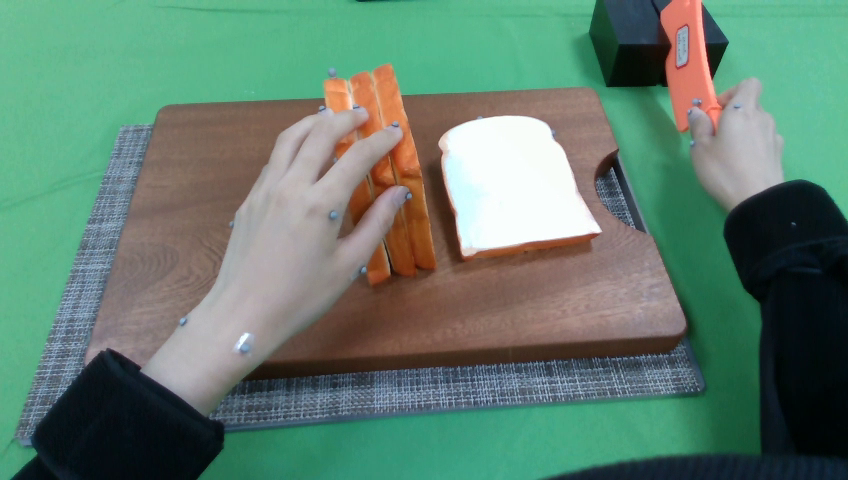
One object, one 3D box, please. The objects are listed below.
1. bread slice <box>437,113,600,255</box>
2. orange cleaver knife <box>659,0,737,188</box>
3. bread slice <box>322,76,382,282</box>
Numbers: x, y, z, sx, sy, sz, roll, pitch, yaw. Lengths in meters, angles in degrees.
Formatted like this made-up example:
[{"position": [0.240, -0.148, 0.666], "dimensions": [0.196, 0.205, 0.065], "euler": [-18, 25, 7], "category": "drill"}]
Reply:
[{"position": [0.066, -0.049, 0.475], "dimensions": [0.105, 0.019, 0.130], "euler": [-9, 56, -6], "category": "bread slice"}, {"position": [0.241, -0.135, 0.547], "dimensions": [0.012, 0.077, 0.210], "euler": [-1, 71, -5], "category": "orange cleaver knife"}, {"position": [-0.052, -0.051, 0.430], "dimensions": [0.018, 0.108, 0.133], "euler": [-10, 45, -6], "category": "bread slice"}]
